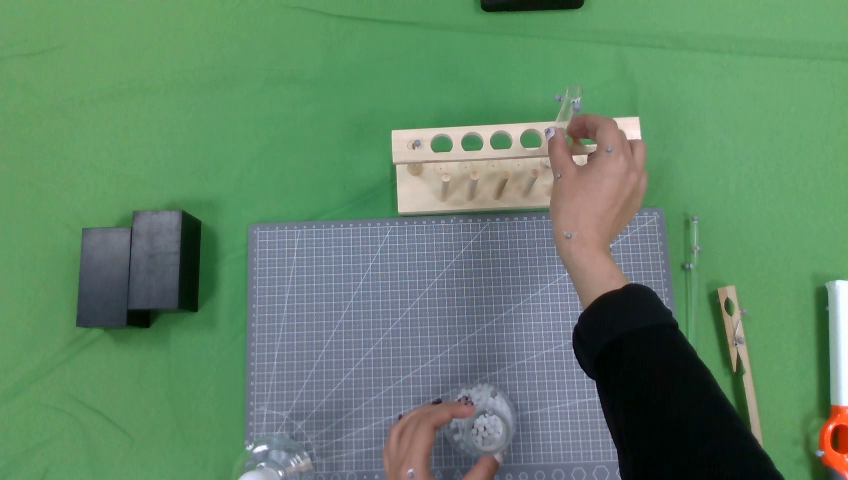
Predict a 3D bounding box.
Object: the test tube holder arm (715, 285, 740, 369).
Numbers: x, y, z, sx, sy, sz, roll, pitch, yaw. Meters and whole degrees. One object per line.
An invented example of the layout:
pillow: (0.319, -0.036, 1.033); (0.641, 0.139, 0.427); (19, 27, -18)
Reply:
test tube holder arm: (0.319, 0.090, 0.631); (0.010, 0.015, 0.087); (-16, 78, 35)

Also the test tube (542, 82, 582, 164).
test tube: (0.130, -0.107, 0.581); (0.017, 0.151, 0.017); (-1, 74, 3)

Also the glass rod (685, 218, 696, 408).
glass rod: (0.281, 0.075, 0.638); (0.008, 0.008, 0.199); (5, 82, 1)

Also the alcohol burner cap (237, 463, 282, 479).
alcohol burner cap: (-0.145, 0.210, 0.524); (0.034, 0.048, 0.033); (0, 70, 1)

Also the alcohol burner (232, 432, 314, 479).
alcohol burner: (-0.144, 0.219, 0.559); (0.078, 0.119, 0.077); (-1, 78, 3)

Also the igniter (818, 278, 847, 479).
igniter: (0.423, 0.175, 0.609); (0.057, 0.025, 0.275); (7, 80, -8)

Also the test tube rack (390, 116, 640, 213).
test tube rack: (0.090, -0.075, 0.628); (0.242, 0.085, 0.066); (-3, 80, 0)

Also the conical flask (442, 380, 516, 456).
conical flask: (0.055, 0.170, 0.562); (0.075, 0.122, 0.075); (0, 79, 1)

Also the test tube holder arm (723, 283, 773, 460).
test tube holder arm: (0.330, 0.132, 0.620); (0.013, 0.015, 0.177); (-17, 77, 35)
